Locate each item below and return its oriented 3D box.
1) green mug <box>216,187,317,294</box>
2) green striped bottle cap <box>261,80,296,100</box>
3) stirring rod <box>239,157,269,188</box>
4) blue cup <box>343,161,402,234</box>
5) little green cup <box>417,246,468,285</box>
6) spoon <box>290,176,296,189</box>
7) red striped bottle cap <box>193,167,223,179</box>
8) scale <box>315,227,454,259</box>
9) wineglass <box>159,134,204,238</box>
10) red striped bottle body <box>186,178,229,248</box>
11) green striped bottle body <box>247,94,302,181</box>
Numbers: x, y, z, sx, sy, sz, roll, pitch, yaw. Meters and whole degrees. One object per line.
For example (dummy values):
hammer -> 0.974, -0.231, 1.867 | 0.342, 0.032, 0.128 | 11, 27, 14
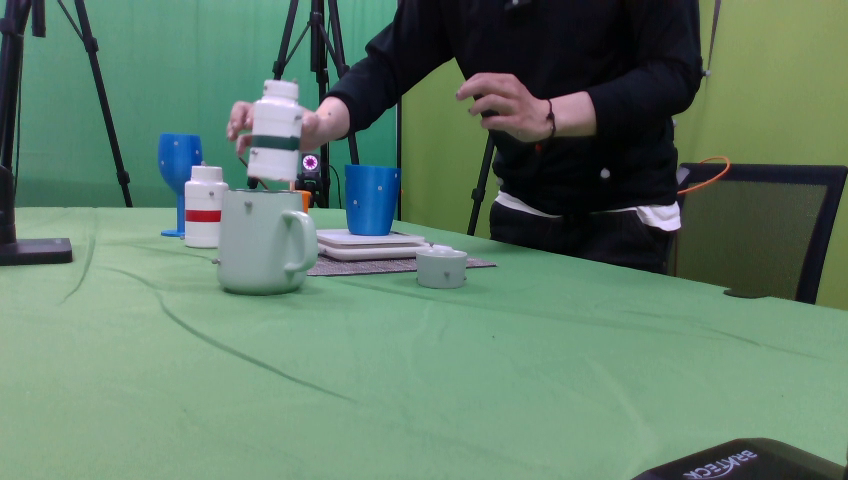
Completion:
green mug -> -0.157, 0.000, 0.629 | 0.124, 0.105, 0.093 | 7, 9, 37
green striped bottle cap -> -0.190, -0.195, 0.791 | 0.044, 0.020, 0.044 | 5, 5, 0
stirring rod -> -0.309, -0.098, 1.209 | 0.006, 0.177, 0.014 | -39, 29, -4
blue cup -> -0.078, -0.062, 0.883 | 0.093, 0.100, 0.092 | 4, 5, 0
little green cup -> 0.021, 0.029, 0.701 | 0.061, 0.038, 0.061 | 1, 6, 0
spoon -> -0.273, -0.102, 1.252 | 0.042, 0.193, 0.021 | 7, -38, -17
red striped bottle cap -> -0.329, -0.103, 0.921 | 0.044, 0.017, 0.044 | 1, 7, 0
scale -> -0.067, 0.001, 0.906 | 0.202, 0.031, 0.148 | -2, 8, -31
wineglass -> -0.415, -0.093, 1.040 | 0.074, 0.172, 0.073 | 2, 7, 0
red striped bottle body -> -0.331, -0.050, 0.927 | 0.063, 0.119, 0.063 | 2, 6, 0
green striped bottle body -> -0.196, -0.140, 0.797 | 0.063, 0.119, 0.063 | 7, 6, 0
